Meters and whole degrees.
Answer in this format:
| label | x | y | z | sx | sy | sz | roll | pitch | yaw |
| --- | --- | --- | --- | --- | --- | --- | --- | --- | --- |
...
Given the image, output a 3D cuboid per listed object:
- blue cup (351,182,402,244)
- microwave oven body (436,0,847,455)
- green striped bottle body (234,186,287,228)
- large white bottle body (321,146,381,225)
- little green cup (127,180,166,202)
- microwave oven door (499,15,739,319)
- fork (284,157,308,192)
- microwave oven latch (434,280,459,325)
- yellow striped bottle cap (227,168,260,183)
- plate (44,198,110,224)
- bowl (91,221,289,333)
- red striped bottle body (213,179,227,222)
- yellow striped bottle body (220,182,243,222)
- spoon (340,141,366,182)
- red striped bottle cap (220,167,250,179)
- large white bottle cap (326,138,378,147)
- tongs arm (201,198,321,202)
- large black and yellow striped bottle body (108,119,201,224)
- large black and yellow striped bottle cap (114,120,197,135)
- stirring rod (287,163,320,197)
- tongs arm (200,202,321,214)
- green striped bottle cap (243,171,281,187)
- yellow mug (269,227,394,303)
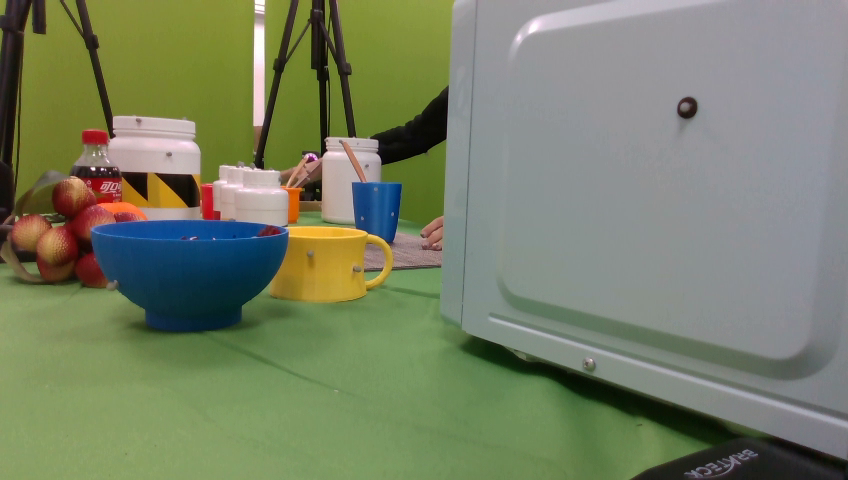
| label | x | y | z | sx | sy | sz | roll | pitch | yaw |
| --- | --- | --- | --- | --- | --- | --- | --- | --- | --- |
| blue cup | -0.080 | -0.046 | 1.012 | 0.093 | 0.100 | 0.092 | 1 | 7 | 0 |
| microwave oven body | 0.279 | -0.040 | 0.465 | 0.444 | 0.260 | 0.324 | -3 | 9 | -41 |
| green striped bottle body | -0.200 | -0.023 | 0.743 | 0.063 | 0.119 | 0.063 | 2 | 7 | 0 |
| large white bottle body | -0.161 | -0.131 | 1.340 | 0.131 | 0.184 | 0.130 | 2 | 7 | 0 |
| little green cup | -0.485 | -0.086 | 1.061 | 0.061 | 0.038 | 0.061 | 1 | 7 | 0 |
| microwave oven door | 0.216 | -0.065 | 0.602 | 0.358 | 0.243 | 0.039 | -4 | 11 | -41 |
| fork | -0.295 | -0.116 | 1.323 | 0.028 | 0.019 | 0.207 | 1 | 50 | 20 |
| microwave oven latch | 0.044 | 0.045 | 0.470 | 0.079 | 0.029 | 0.030 | -2 | 8 | -39 |
| yellow striped bottle cap | -0.243 | -0.087 | 0.818 | 0.044 | 0.018 | 0.044 | 3 | 6 | 0 |
| plate | -0.617 | -0.056 | 1.179 | 0.209 | 0.038 | 0.209 | 3 | 7 | 0 |
| bowl | -0.190 | 0.029 | 0.500 | 0.151 | 0.077 | 0.151 | 3 | 7 | 0 |
| red striped bottle body | -0.284 | -0.048 | 0.909 | 0.063 | 0.119 | 0.063 | 3 | 12 | 0 |
| yellow striped bottle body | -0.245 | -0.036 | 0.825 | 0.063 | 0.120 | 0.063 | 3 | 8 | 0 |
| spoon | -0.102 | -0.089 | 1.028 | 0.021 | 0.193 | 0.042 | -32 | -19 | 35 |
| red striped bottle cap | -0.281 | -0.100 | 0.901 | 0.044 | 0.017 | 0.044 | -1 | 5 | 0 |
| large white bottle cap | -0.158 | -0.214 | 1.329 | 0.115 | 0.018 | 0.115 | 2 | 8 | 0 |
| tongs arm | -0.433 | -0.090 | 1.508 | 0.390 | 0.028 | 0.028 | -1 | 2 | -29 |
| large black and yellow striped bottle body | -0.412 | -0.088 | 0.930 | 0.131 | 0.184 | 0.130 | 3 | 7 | 0 |
| large black and yellow striped bottle cap | -0.407 | -0.171 | 0.920 | 0.115 | 0.019 | 0.115 | 2 | 9 | 0 |
| stirring rod | -0.283 | -0.107 | 1.297 | 0.014 | 0.006 | 0.176 | 10 | 52 | 51 |
| tongs arm | -0.378 | -0.079 | 1.440 | 0.387 | 0.026 | 0.050 | -4 | 7 | -44 |
| green striped bottle cap | -0.198 | -0.074 | 0.736 | 0.044 | 0.020 | 0.044 | 1 | 7 | 0 |
| yellow mug | -0.094 | 0.023 | 0.629 | 0.131 | 0.064 | 0.099 | 0 | 7 | -22 |
